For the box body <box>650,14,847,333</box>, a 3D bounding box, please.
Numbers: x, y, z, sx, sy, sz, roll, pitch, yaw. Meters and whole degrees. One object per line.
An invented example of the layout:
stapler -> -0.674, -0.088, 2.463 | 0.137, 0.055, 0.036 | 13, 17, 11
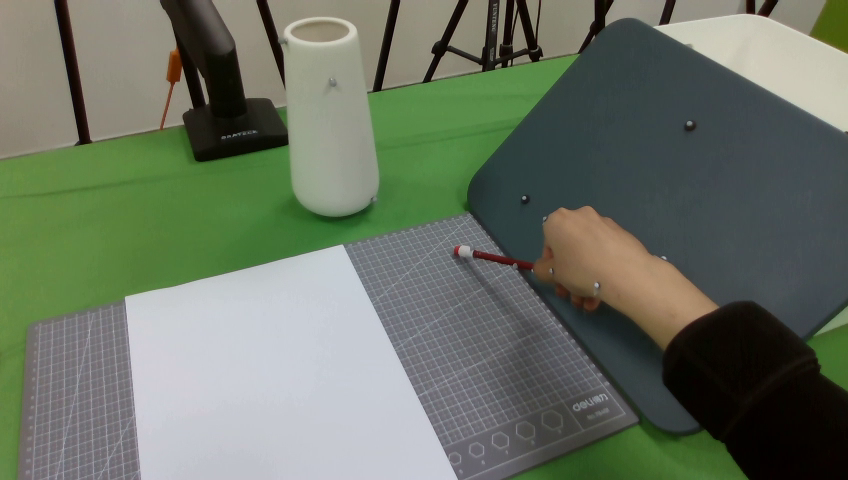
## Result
box body -> 0.361, -0.090, 0.644 | 0.255, 0.162, 0.359 | -15, 43, -18

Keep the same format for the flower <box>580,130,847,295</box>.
flower -> 0.327, -0.029, 0.680 | 0.358, 0.038, 0.044 | 39, 15, 28

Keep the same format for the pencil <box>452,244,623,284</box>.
pencil -> 0.097, 0.022, 0.563 | 0.012, 0.012, 0.192 | -34, 30, -34

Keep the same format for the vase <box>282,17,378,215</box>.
vase -> -0.101, -0.125, 0.640 | 0.098, 0.202, 0.097 | 0, 40, 0

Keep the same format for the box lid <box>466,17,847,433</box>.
box lid -> 0.202, -0.040, 0.556 | 0.015, 0.263, 0.367 | 28, 20, -43
